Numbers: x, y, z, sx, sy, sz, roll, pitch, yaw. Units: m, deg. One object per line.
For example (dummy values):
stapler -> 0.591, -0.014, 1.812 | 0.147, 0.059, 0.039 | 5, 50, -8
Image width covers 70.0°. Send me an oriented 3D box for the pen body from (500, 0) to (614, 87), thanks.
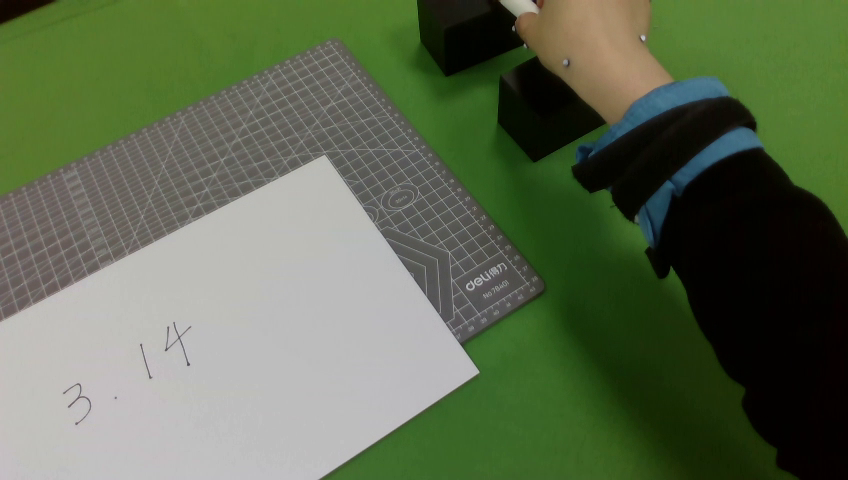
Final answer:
pen body -> 0.087, -0.160, 0.448 | 0.017, 0.017, 0.142 | -30, 61, -13
